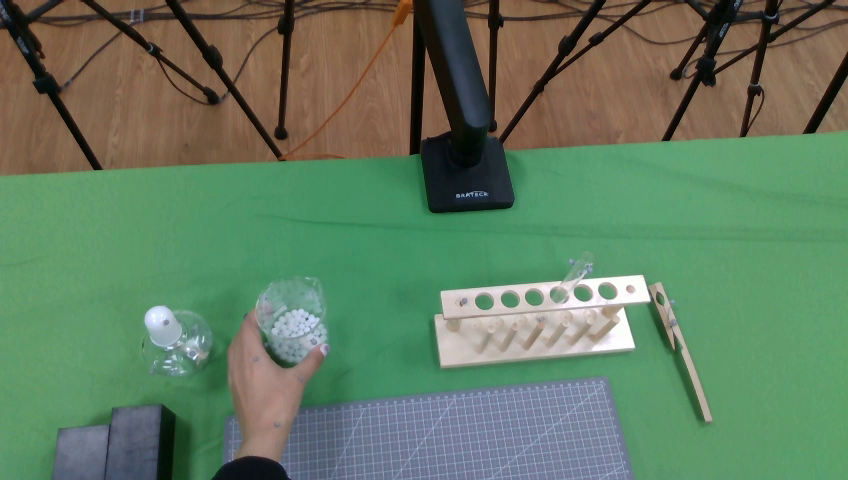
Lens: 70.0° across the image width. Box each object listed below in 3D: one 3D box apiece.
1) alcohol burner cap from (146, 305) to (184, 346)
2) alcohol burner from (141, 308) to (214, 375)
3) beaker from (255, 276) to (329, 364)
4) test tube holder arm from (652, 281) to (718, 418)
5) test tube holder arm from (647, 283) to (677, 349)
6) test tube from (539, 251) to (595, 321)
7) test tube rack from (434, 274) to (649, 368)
[{"bbox_3d":[-0.272,0.086,0.633,0.034,0.048,0.033,5,55,-7],"label":"alcohol burner cap"},{"bbox_3d":[-0.275,0.104,0.663,0.078,0.120,0.077,1,60,-2],"label":"alcohol burner"},{"bbox_3d":[-0.145,0.093,0.690,0.073,0.101,0.083,31,63,11],"label":"beaker"},{"bbox_3d":[0.324,0.134,0.755,0.013,0.015,0.177,-27,62,22],"label":"test tube holder arm"},{"bbox_3d":[0.308,0.097,0.776,0.010,0.015,0.087,-26,62,22],"label":"test tube holder arm"},{"bbox_3d":[0.159,0.057,0.689,0.017,0.151,0.017,5,57,-7],"label":"test tube"},{"bbox_3d":[0.139,0.097,0.722,0.243,0.086,0.066,-4,62,-7],"label":"test tube rack"}]
